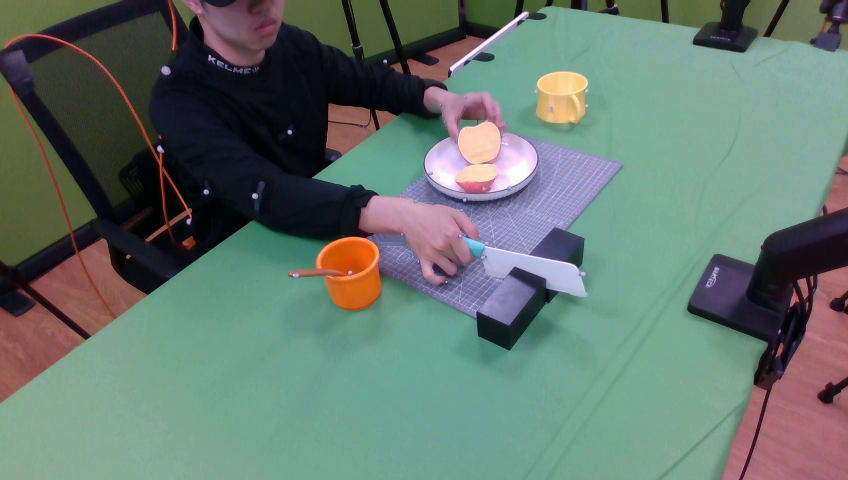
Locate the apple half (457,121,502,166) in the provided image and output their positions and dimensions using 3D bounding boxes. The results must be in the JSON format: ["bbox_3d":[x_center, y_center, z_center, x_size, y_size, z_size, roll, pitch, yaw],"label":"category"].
[{"bbox_3d":[0.103,-0.173,1.103,0.081,0.053,0.074,-16,82,8],"label":"apple half"}]

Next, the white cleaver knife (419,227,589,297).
[{"bbox_3d":[0.102,0.032,0.868,0.284,0.066,0.021,15,44,39],"label":"white cleaver knife"}]

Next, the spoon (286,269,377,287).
[{"bbox_3d":[-0.125,0.049,0.831,0.041,0.195,0.021,22,92,28],"label":"spoon"}]

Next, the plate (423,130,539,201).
[{"bbox_3d":[0.102,-0.132,1.092,0.209,0.038,0.208,-4,40,4],"label":"plate"}]

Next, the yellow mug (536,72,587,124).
[{"bbox_3d":[0.285,-0.281,1.222,0.100,0.064,0.130,-16,42,-9],"label":"yellow mug"}]

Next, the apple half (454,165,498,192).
[{"bbox_3d":[0.094,-0.103,1.051,0.081,0.033,0.081,-9,27,5],"label":"apple half"}]
